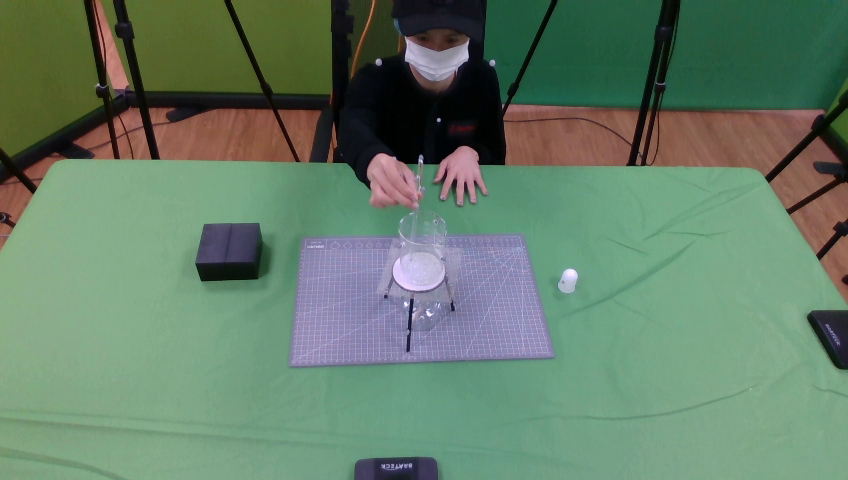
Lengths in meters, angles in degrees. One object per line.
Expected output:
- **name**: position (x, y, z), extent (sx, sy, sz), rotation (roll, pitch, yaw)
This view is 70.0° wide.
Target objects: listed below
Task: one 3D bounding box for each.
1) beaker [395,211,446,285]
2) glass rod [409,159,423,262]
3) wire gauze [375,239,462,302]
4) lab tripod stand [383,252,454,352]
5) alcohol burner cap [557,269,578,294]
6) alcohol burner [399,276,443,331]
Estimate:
- **beaker**: position (-0.002, 0.017, 0.941), extent (0.083, 0.101, 0.074), rotation (36, 55, 29)
- **glass rod**: position (-0.013, -0.036, 0.876), extent (0.008, 0.200, 0.008), rotation (4, 45, -3)
- **wire gauze**: position (-0.006, 0.049, 0.977), extent (0.121, 0.011, 0.124), rotation (10, 44, 5)
- **lab tripod stand**: position (-0.016, 0.094, 1.025), extent (0.148, 0.132, 0.147), rotation (1, 46, -1)
- **alcohol burner cap**: position (0.270, 0.075, 1.135), extent (0.034, 0.048, 0.033), rotation (3, 46, -3)
- **alcohol burner**: position (-0.004, 0.101, 1.033), extent (0.078, 0.119, 0.077), rotation (3, 48, -3)
